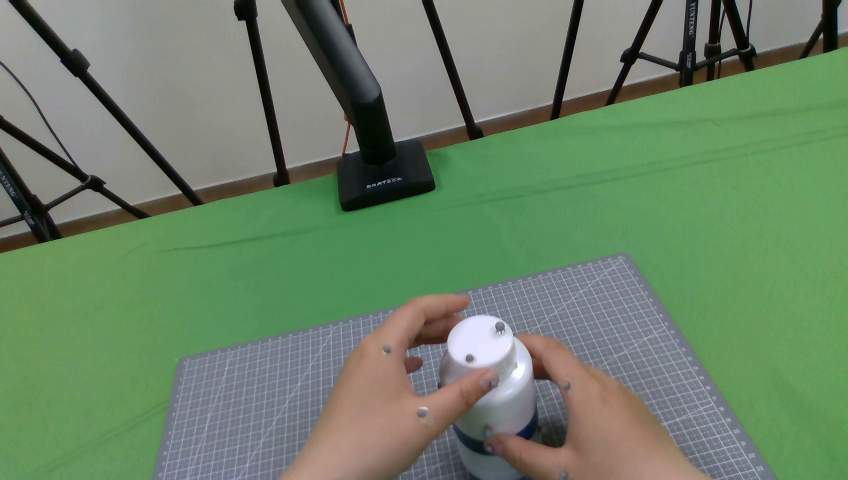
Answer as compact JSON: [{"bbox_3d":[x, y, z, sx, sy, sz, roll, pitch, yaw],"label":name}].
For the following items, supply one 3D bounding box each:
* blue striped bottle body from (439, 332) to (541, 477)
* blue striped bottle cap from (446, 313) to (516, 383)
[{"bbox_3d":[0.046,0.107,0.422,0.063,0.122,0.062,-8,40,7],"label":"blue striped bottle body"},{"bbox_3d":[0.036,0.068,0.389,0.044,0.021,0.044,-6,40,6],"label":"blue striped bottle cap"}]
